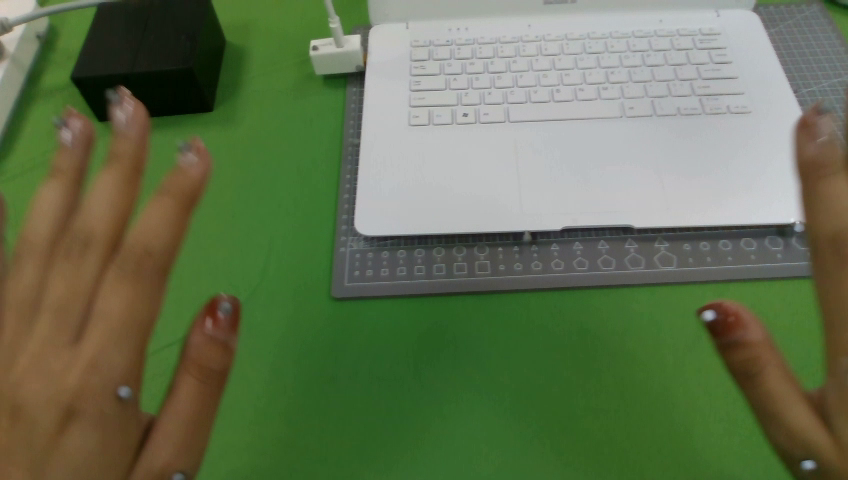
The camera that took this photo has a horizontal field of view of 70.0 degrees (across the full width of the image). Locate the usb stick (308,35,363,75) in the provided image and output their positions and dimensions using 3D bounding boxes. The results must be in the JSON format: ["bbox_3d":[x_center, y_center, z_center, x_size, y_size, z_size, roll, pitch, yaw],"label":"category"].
[{"bbox_3d":[-0.071,-0.164,0.536,0.059,0.027,0.021,-4,55,1],"label":"usb stick"}]

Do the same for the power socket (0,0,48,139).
[{"bbox_3d":[-0.405,-0.145,0.546,0.072,0.033,0.224,-4,56,-2],"label":"power socket"}]

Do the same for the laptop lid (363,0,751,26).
[{"bbox_3d":[0.116,-0.297,0.496,0.357,0.244,0.013,-3,35,2],"label":"laptop lid"}]

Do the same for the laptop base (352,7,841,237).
[{"bbox_3d":[0.123,-0.103,0.500,0.354,0.023,0.233,-2,60,2],"label":"laptop base"}]
